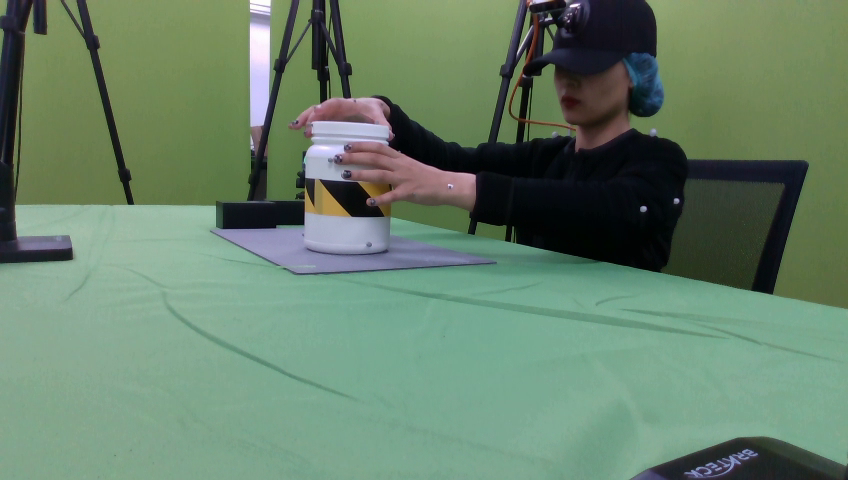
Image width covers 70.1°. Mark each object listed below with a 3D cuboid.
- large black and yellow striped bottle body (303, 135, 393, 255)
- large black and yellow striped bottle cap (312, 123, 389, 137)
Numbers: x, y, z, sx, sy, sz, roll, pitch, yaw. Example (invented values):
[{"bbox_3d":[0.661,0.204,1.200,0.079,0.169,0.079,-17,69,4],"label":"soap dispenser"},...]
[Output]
[{"bbox_3d":[-0.114,-0.077,0.912,0.131,0.184,0.130,3,8,0],"label":"large black and yellow striped bottle body"},{"bbox_3d":[-0.109,-0.163,0.899,0.115,0.019,0.115,1,8,0],"label":"large black and yellow striped bottle cap"}]
